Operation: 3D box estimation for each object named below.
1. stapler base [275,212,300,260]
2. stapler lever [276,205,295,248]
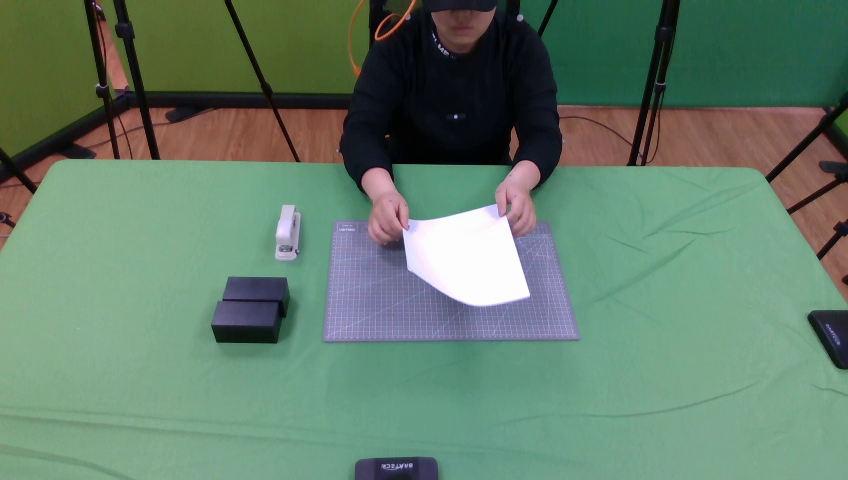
[{"bbox_3d":[-0.268,-0.016,1.191,0.041,0.024,0.129,0,44,-7],"label":"stapler base"},{"bbox_3d":[-0.268,-0.034,1.175,0.027,0.040,0.117,0,45,-7],"label":"stapler lever"}]
